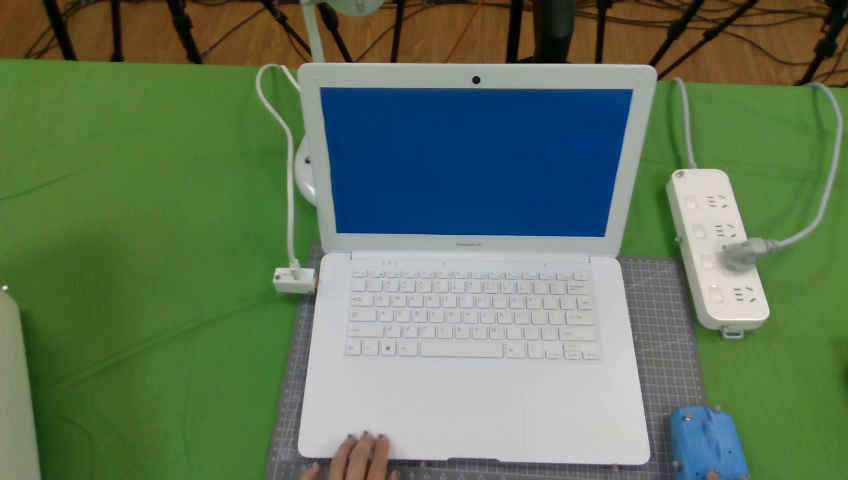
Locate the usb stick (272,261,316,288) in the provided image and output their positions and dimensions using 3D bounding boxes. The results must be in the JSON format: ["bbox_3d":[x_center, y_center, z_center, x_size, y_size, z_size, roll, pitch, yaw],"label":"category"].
[{"bbox_3d":[-0.142,0.040,0.695,0.059,0.027,0.021,5,54,1],"label":"usb stick"}]

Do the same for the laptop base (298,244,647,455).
[{"bbox_3d":[0.050,0.113,0.665,0.354,0.023,0.233,1,63,1],"label":"laptop base"}]

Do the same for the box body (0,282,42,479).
[{"bbox_3d":[-0.511,0.194,0.539,0.254,0.162,0.360,-21,61,-12],"label":"box body"}]

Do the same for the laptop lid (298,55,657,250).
[{"bbox_3d":[0.052,-0.083,0.654,0.357,0.244,0.013,-1,36,2],"label":"laptop lid"}]

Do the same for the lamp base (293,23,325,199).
[{"bbox_3d":[-0.099,-0.155,0.732,0.160,0.182,0.177,-32,61,-17],"label":"lamp base"}]

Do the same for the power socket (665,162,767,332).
[{"bbox_3d":[0.344,-0.001,0.723,0.072,0.033,0.224,1,59,0],"label":"power socket"}]

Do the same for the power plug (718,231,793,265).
[{"bbox_3d":[0.372,0.015,0.687,0.072,0.053,0.035,11,59,4],"label":"power plug"}]

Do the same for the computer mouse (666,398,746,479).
[{"bbox_3d":[0.275,0.210,0.592,0.063,0.041,0.116,5,56,6],"label":"computer mouse"}]
